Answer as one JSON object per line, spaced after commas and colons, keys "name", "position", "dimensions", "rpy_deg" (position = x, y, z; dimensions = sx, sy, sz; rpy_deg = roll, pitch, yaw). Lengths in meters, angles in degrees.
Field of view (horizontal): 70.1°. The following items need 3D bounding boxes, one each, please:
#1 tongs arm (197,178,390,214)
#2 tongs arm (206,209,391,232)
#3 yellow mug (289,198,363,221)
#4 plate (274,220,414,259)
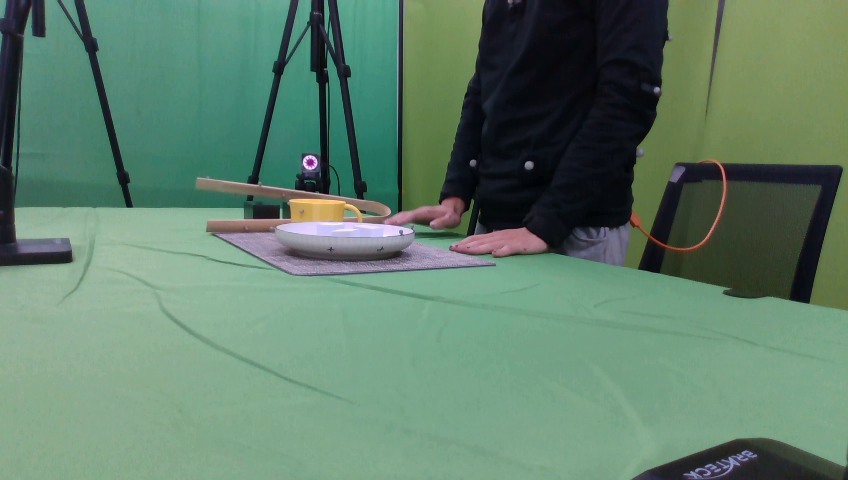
{"name": "tongs arm", "position": [-0.256, -0.083, 1.230], "dimensions": [0.387, 0.026, 0.050], "rpy_deg": [5, 30, -26]}
{"name": "tongs arm", "position": [-0.224, -0.037, 1.170], "dimensions": [0.390, 0.028, 0.028], "rpy_deg": [-4, 31, -37]}
{"name": "yellow mug", "position": [-0.174, -0.039, 1.071], "dimensions": [0.131, 0.064, 0.100], "rpy_deg": [3, 6, 0]}
{"name": "plate", "position": [-0.118, -0.001, 0.903], "dimensions": [0.208, 0.039, 0.207], "rpy_deg": [3, 7, 0]}
